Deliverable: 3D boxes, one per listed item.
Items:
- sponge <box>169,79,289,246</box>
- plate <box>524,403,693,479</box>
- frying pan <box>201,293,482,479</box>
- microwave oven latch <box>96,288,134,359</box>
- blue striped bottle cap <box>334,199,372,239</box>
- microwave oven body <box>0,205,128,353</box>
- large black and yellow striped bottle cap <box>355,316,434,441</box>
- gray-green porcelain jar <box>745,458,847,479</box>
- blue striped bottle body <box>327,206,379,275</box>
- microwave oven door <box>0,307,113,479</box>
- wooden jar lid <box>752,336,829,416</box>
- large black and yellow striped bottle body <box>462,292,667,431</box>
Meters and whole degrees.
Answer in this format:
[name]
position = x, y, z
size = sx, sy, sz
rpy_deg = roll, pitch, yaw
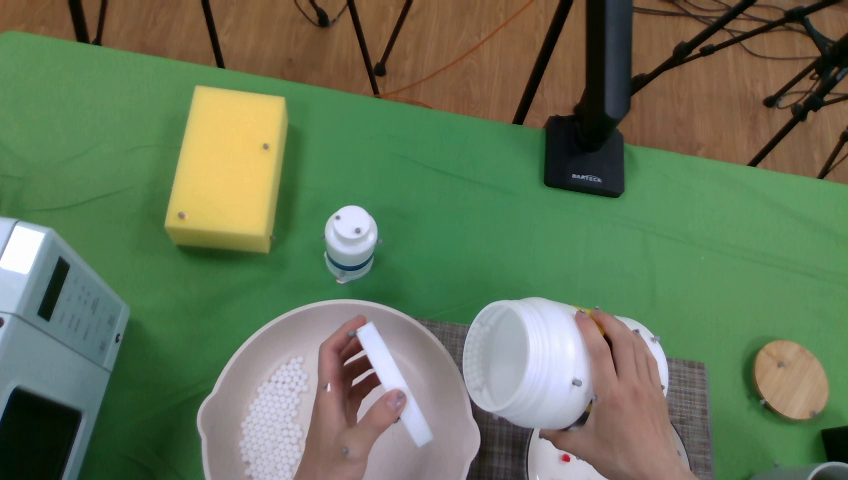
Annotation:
[sponge]
position = -0.250, -0.102, 0.797
size = 0.118, 0.061, 0.205
rpy_deg = 5, 68, -8
[plate]
position = 0.220, 0.272, 0.734
size = 0.209, 0.038, 0.207
rpy_deg = 3, 68, -7
[frying pan]
position = -0.101, 0.296, 0.637
size = 0.307, 0.103, 0.483
rpy_deg = 9, 59, -3
[microwave oven latch]
position = -0.357, 0.094, 0.694
size = 0.030, 0.029, 0.078
rpy_deg = 10, 68, -5
[blue striped bottle cap]
position = -0.082, -0.025, 0.706
size = 0.045, 0.021, 0.044
rpy_deg = 3, 69, -8
[microwave oven body]
position = -0.513, 0.192, 0.524
size = 0.327, 0.261, 0.438
rpy_deg = 10, 68, -5
[large black and yellow striped bottle cap]
position = -0.027, 0.120, 0.528
size = 0.019, 0.115, 0.114
rpy_deg = -28, 74, -7
[gray-green porcelain jar]
position = 0.449, 0.315, 0.711
size = 0.106, 0.127, 0.105
rpy_deg = 3, 68, -8
[blue striped bottle body]
position = -0.089, -0.005, 0.752
size = 0.063, 0.121, 0.062
rpy_deg = 3, 67, -8
[microwave oven door]
position = -0.375, 0.254, 0.516
size = 0.039, 0.245, 0.353
rpy_deg = 10, 67, -5
[wooden jar lid]
position = 0.498, 0.186, 0.829
size = 0.108, 0.021, 0.107
rpy_deg = 3, 69, -8
[large black and yellow striped bottle body]
position = 0.145, 0.127, 0.635
size = 0.185, 0.130, 0.130
rpy_deg = 14, 64, -29
